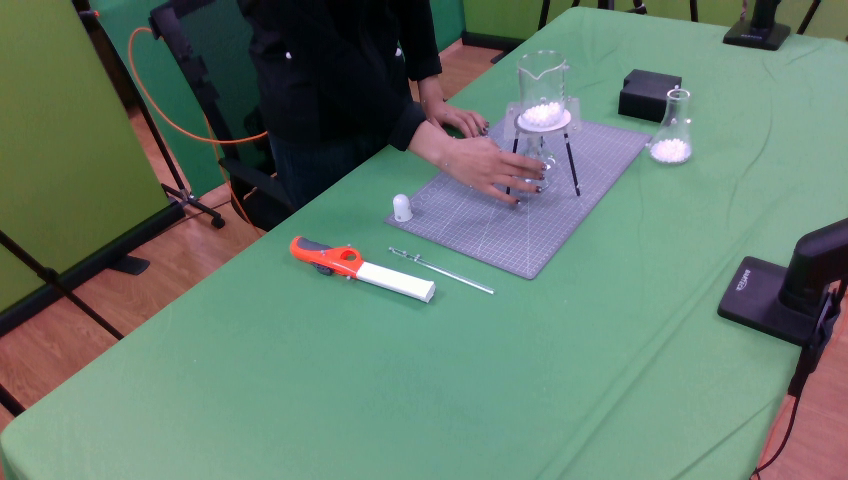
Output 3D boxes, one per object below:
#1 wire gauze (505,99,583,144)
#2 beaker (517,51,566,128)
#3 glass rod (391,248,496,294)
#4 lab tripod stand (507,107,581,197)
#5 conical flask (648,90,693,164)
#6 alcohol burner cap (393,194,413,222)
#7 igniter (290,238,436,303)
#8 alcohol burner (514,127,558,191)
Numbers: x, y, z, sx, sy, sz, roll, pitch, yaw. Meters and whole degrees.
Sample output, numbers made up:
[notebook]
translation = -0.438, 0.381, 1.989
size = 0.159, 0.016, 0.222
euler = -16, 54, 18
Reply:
[wire gauze]
translation = 0.195, -0.199, 0.988
size = 0.121, 0.011, 0.124
euler = -3, 41, 13
[beaker]
translation = 0.186, -0.235, 0.957
size = 0.073, 0.101, 0.084
euler = 4, 42, 18
[glass rod]
translation = 0.026, 0.045, 0.937
size = 0.198, 0.008, 0.008
euler = 21, 49, 31
[lab tripod stand]
translation = 0.201, -0.151, 1.033
size = 0.148, 0.132, 0.147
euler = -7, 39, 6
[conical flask]
translation = 0.437, -0.199, 1.057
size = 0.075, 0.122, 0.075
euler = -5, 40, 5
[alcohol burner cap]
translation = -0.038, -0.057, 1.038
size = 0.034, 0.048, 0.033
euler = -5, 41, 5
[igniter]
translation = -0.106, 0.044, 0.949
size = 0.274, 0.025, 0.057
euler = 16, 57, 28
[alcohol burner]
translation = 0.192, -0.145, 1.044
size = 0.078, 0.119, 0.077
euler = -5, 42, 5
